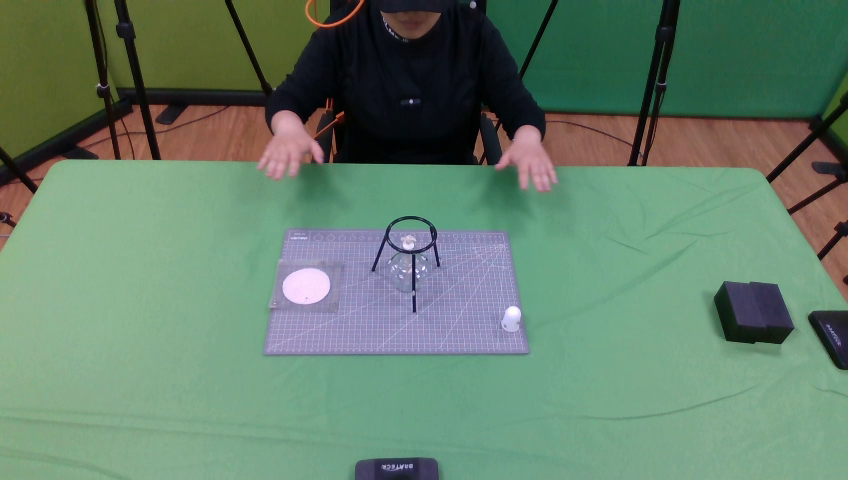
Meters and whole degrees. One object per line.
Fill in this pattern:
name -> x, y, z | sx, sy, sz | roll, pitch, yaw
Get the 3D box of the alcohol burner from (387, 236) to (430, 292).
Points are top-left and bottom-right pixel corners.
alcohol burner -> -0.028, 0.038, 1.093 | 0.078, 0.120, 0.077 | 1, 46, -1

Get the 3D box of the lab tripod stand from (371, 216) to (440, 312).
lab tripod stand -> -0.029, 0.033, 1.083 | 0.148, 0.132, 0.147 | 1, 47, -1

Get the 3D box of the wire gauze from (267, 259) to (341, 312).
wire gauze -> -0.218, 0.081, 1.110 | 0.125, 0.011, 0.120 | 1, 46, 0

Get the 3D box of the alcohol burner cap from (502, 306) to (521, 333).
alcohol burner cap -> 0.155, 0.137, 1.061 | 0.034, 0.048, 0.033 | 1, 45, -1
